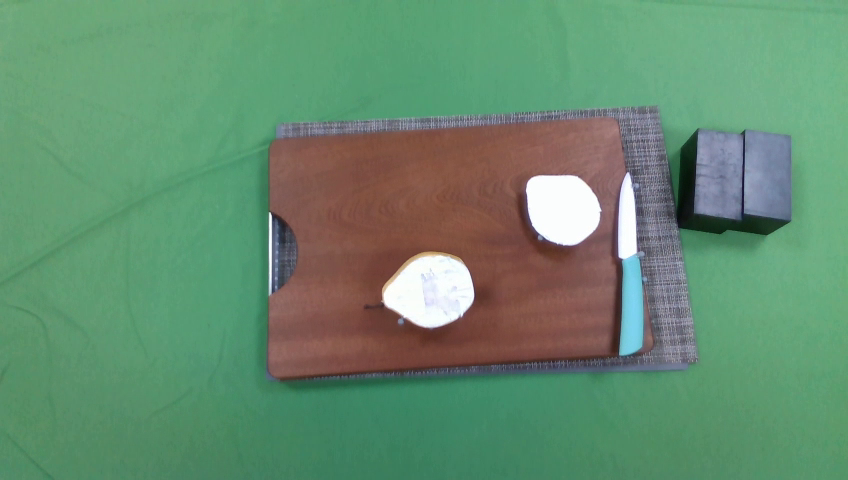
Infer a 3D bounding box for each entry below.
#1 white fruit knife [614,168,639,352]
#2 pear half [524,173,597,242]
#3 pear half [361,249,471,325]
[{"bbox_3d":[0.215,0.017,0.644,0.027,0.016,0.206,9,72,-12],"label":"white fruit knife"},{"bbox_3d":[0.145,-0.036,0.650,0.070,0.031,0.087,-45,65,5],"label":"pear half"},{"bbox_3d":[-0.010,0.050,0.617,0.110,0.056,0.076,-10,93,-5],"label":"pear half"}]
